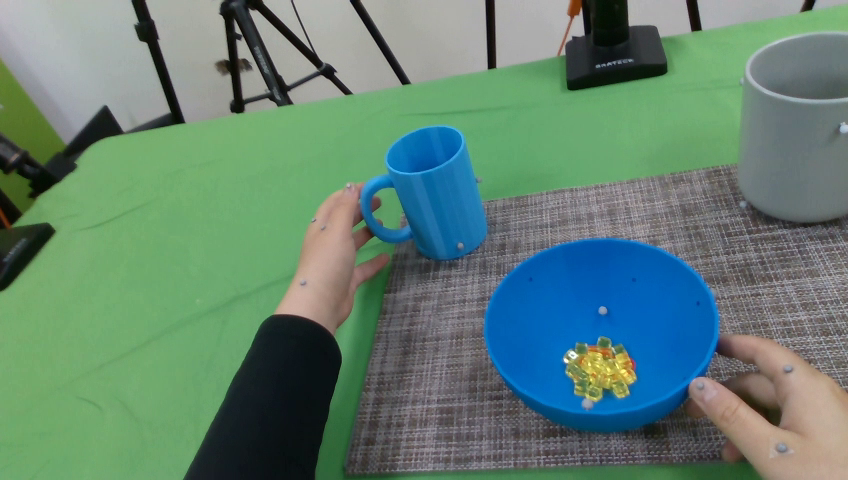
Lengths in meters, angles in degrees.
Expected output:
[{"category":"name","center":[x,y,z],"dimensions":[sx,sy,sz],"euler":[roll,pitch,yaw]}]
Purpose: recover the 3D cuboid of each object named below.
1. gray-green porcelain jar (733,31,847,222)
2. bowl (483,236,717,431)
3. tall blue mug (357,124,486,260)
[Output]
[{"category":"gray-green porcelain jar","center":[0.312,-0.086,0.492],"dimensions":[0.106,0.128,0.105],"euler":[-11,41,10]},{"category":"bowl","center":[0.122,0.076,0.425],"dimensions":[0.151,0.077,0.150],"euler":[-11,41,10]},{"category":"tall blue mug","center":[0.000,-0.036,0.577],"dimensions":[0.107,0.109,0.077],"euler":[-36,44,-18]}]
